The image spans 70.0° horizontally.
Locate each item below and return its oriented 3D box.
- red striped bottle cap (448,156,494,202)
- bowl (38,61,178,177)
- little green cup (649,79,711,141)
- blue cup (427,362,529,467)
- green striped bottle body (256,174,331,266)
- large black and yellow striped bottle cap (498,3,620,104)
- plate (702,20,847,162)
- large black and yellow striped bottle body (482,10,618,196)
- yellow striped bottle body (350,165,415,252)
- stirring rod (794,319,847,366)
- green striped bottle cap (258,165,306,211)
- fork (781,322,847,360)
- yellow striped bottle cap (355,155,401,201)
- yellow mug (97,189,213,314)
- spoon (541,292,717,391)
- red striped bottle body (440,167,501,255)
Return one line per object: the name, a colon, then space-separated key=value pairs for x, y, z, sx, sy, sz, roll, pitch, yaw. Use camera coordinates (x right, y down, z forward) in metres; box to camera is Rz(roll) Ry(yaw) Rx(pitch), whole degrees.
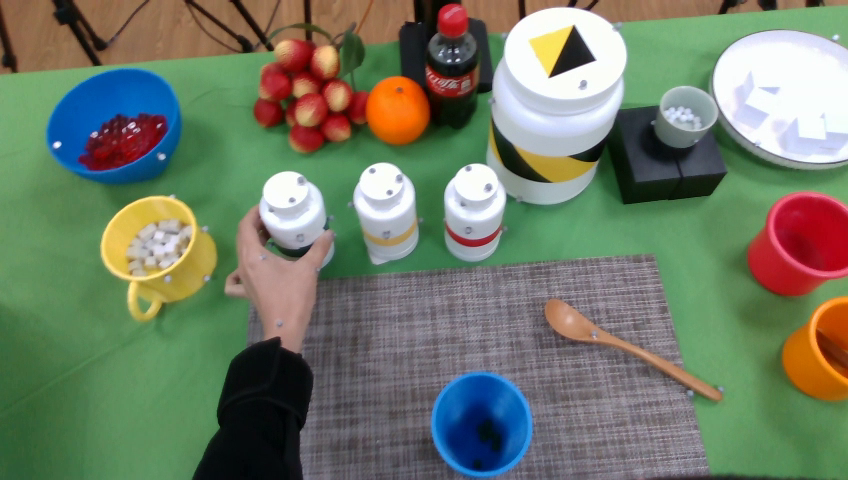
red striped bottle cap: x=0.047 y=-0.060 z=0.594 sx=0.044 sy=0.018 sz=0.044 roll=1 pitch=63 yaw=-2
bowl: x=-0.359 y=-0.129 z=0.722 sx=0.151 sy=0.077 sz=0.150 roll=0 pitch=65 yaw=1
little green cup: x=0.282 y=-0.142 z=0.674 sx=0.061 sy=0.039 sz=0.061 roll=0 pitch=63 yaw=1
blue cup: x=0.046 y=0.166 z=0.550 sx=0.092 sy=0.101 sz=0.092 roll=0 pitch=63 yaw=0
green striped bottle body: x=-0.136 y=-0.026 z=0.632 sx=0.063 sy=0.120 sz=0.062 roll=0 pitch=61 yaw=0
large black and yellow striped bottle cap: x=0.128 y=-0.180 z=0.579 sx=0.115 sy=0.019 sz=0.114 roll=-1 pitch=63 yaw=2
plate: x=0.444 y=-0.180 z=0.743 sx=0.209 sy=0.038 sz=0.207 roll=-1 pitch=65 yaw=1
large black and yellow striped bottle body: x=0.132 y=-0.145 z=0.655 sx=0.131 sy=0.185 sz=0.129 roll=-1 pitch=64 yaw=2
yellow striped bottle body: x=-0.043 y=-0.039 z=0.645 sx=0.063 sy=0.121 sz=0.062 roll=-1 pitch=64 yaw=2
stirring rod: x=0.394 y=0.115 z=0.549 sx=0.014 sy=0.006 sz=0.175 roll=-2 pitch=21 yaw=-2
green striped bottle cap: x=-0.138 y=-0.051 z=0.586 sx=0.044 sy=0.020 sz=0.044 roll=1 pitch=60 yaw=-1
fork: x=0.424 y=0.114 z=0.541 sx=0.028 sy=0.019 sz=0.205 roll=-41 pitch=26 yaw=-16
yellow striped bottle cap: x=-0.046 y=-0.062 z=0.599 sx=0.044 sy=0.019 sz=0.044 roll=0 pitch=66 yaw=1
yellow mug: x=-0.294 y=0.017 z=0.656 sx=0.100 sy=0.064 sz=0.130 roll=5 pitch=65 yaw=3
spoon: x=0.207 y=0.105 z=0.618 sx=0.193 sy=0.022 sz=0.041 roll=25 pitch=43 yaw=12
red striped bottle body: x=0.050 y=-0.036 z=0.641 sx=0.063 sy=0.121 sz=0.062 roll=-3 pitch=62 yaw=6
